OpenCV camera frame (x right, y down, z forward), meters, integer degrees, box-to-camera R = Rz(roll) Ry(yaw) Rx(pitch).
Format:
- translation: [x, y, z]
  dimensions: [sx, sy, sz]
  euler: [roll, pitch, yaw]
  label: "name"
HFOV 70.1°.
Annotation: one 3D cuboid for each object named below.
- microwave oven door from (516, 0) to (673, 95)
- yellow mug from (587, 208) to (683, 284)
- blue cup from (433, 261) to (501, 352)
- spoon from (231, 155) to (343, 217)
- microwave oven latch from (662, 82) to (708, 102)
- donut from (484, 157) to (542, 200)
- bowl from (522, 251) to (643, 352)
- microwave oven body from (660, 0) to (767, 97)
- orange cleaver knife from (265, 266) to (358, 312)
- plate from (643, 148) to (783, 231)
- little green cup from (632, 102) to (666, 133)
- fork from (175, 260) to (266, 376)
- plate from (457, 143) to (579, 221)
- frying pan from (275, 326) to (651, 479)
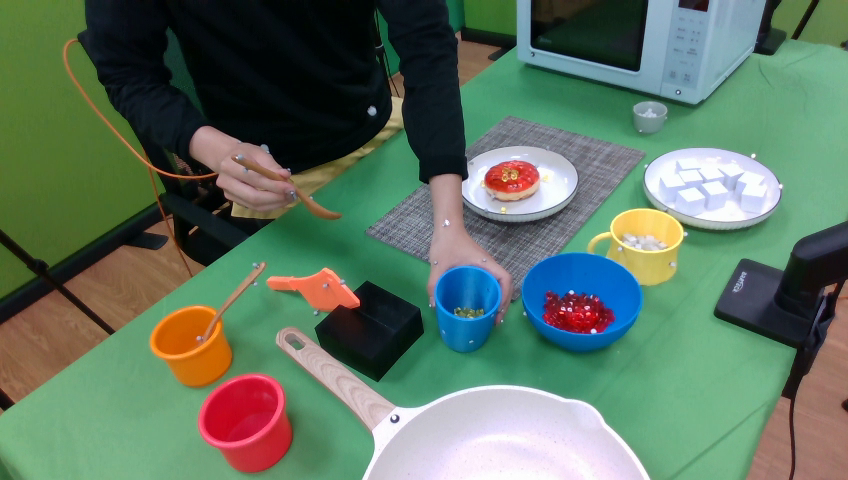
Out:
- translation: [0.344, -0.458, 1.256]
  dimensions: [0.353, 0.245, 0.039]
  euler: [26, 51, 33]
  label: "microwave oven door"
- translation: [0.305, 0.009, 0.884]
  dimensions: [0.131, 0.064, 0.099]
  euler: [-4, 41, 5]
  label: "yellow mug"
- translation: [0.054, 0.096, 0.785]
  dimensions: [0.093, 0.100, 0.092]
  euler: [0, 51, 1]
  label: "blue cup"
- translation: [-0.169, -0.066, 0.764]
  dimensions: [0.041, 0.195, 0.021]
  euler: [10, 74, 34]
  label: "spoon"
- translation: [0.518, -0.298, 1.203]
  dimensions: [0.078, 0.029, 0.030]
  euler: [28, 53, 35]
  label: "microwave oven latch"
- translation: [0.153, -0.107, 1.039]
  dimensions: [0.099, 0.048, 0.098]
  euler: [-6, 38, 6]
  label: "donut"
- translation: [0.204, 0.093, 0.792]
  dimensions: [0.151, 0.077, 0.150]
  euler: [-4, 40, 4]
  label: "bowl"
- translation: [0.473, -0.516, 1.313]
  dimensions: [0.438, 0.261, 0.327]
  euler: [26, 51, 34]
  label: "microwave oven body"
- translation: [-0.164, 0.073, 0.864]
  dimensions: [0.210, 0.077, 0.012]
  euler: [-6, 30, 50]
  label: "orange cleaver knife"
- translation: [0.464, -0.079, 0.985]
  dimensions: [0.207, 0.039, 0.206]
  euler: [-4, 40, 4]
  label: "plate"
- translation: [0.434, -0.237, 1.171]
  dimensions: [0.061, 0.039, 0.061]
  euler: [-5, 40, 5]
  label: "little green cup"
- translation: [-0.268, 0.103, 0.792]
  dimensions: [0.207, 0.019, 0.028]
  euler: [-51, 40, 16]
  label: "fork"
- translation: [0.161, -0.097, 1.042]
  dimensions: [0.209, 0.038, 0.208]
  euler: [-4, 40, 4]
  label: "plate"
- translation: [0.004, 0.229, 0.641]
  dimensions: [0.484, 0.103, 0.308]
  euler: [34, 54, 28]
  label: "frying pan"
